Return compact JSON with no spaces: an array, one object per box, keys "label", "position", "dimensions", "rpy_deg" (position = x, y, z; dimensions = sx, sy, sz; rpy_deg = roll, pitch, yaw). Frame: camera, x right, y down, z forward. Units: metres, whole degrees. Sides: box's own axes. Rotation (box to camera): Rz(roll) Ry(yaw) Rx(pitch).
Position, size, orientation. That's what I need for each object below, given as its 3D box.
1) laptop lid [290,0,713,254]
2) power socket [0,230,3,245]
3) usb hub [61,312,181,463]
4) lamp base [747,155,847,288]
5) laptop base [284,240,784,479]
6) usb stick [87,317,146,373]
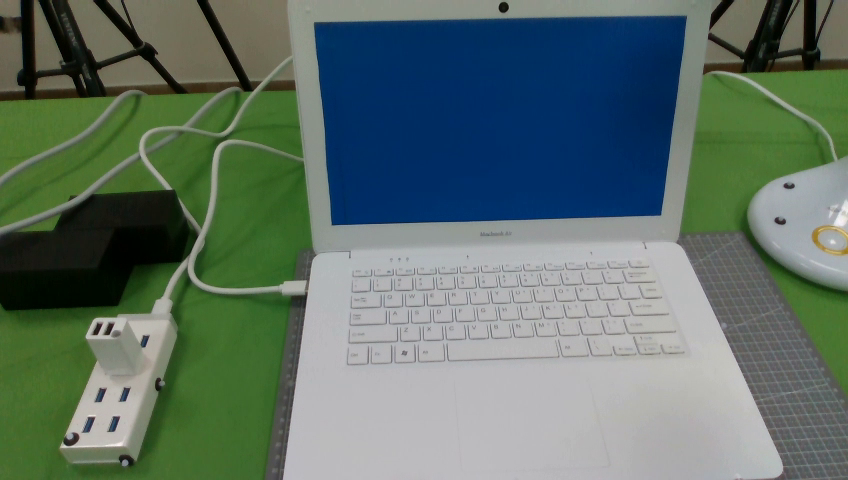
[{"label":"laptop lid","position":[0.068,-0.097,0.540],"dimensions":[0.357,0.243,0.013],"rpy_deg":[-3,22,-2]},{"label":"power socket","position":[-0.452,0.055,0.530],"dimensions":[0.072,0.033,0.224],"rpy_deg":[-1,43,-3]},{"label":"usb hub","position":[-0.234,0.111,0.476],"dimensions":[0.049,0.025,0.124],"rpy_deg":[-2,43,-1]},{"label":"lamp base","position":[0.413,-0.074,0.560],"dimensions":[0.159,0.182,0.178],"rpy_deg":[20,45,20]},{"label":"laptop base","position":[0.075,0.093,0.501],"dimensions":[0.354,0.023,0.233],"rpy_deg":[-2,47,-2]},{"label":"usb stick","position":[-0.231,0.085,0.462],"dimensions":[0.027,0.060,0.021],"rpy_deg":[-3,43,-1]}]
